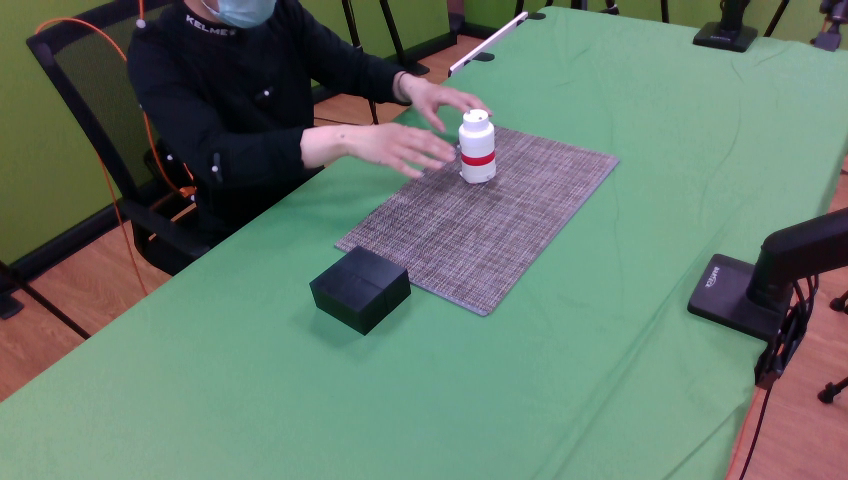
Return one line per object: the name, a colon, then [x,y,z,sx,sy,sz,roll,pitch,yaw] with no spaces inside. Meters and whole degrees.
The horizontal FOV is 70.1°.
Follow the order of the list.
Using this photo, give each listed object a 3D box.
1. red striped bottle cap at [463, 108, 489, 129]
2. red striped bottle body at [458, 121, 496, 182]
red striped bottle cap: [0.089,-0.208,1.034,0.044,0.018,0.044,-5,43,5]
red striped bottle body: [0.094,-0.167,1.068,0.063,0.120,0.062,-5,41,4]
